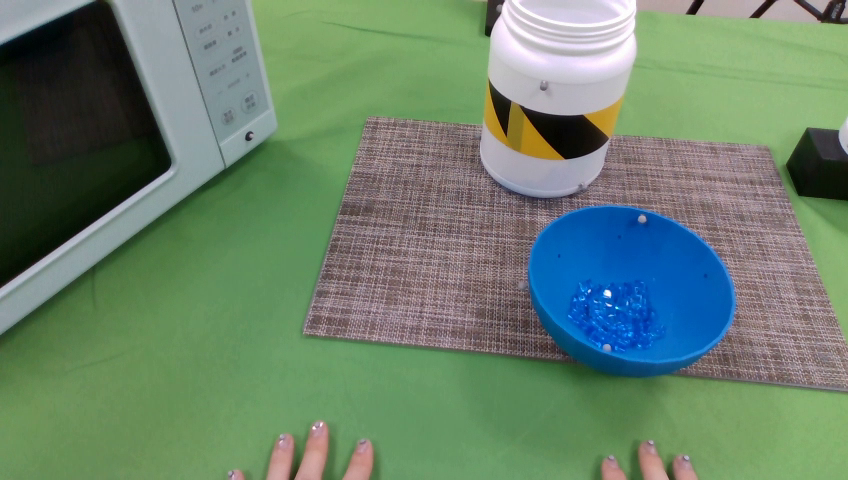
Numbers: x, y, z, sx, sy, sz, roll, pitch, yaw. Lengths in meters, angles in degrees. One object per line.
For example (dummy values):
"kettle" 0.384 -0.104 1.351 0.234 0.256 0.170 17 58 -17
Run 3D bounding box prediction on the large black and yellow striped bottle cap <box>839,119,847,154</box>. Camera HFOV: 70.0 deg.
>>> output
"large black and yellow striped bottle cap" 0.471 -0.094 0.590 0.115 0.019 0.114 0 48 0

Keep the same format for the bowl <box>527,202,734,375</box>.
"bowl" 0.151 0.050 0.477 0.151 0.077 0.150 0 48 0

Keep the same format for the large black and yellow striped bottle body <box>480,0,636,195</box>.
"large black and yellow striped bottle body" 0.125 -0.149 0.581 0.131 0.185 0.129 1 48 0

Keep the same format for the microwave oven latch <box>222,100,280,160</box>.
"microwave oven latch" -0.185 -0.118 0.627 0.030 0.030 0.079 29 55 22

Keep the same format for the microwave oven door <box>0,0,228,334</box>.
"microwave oven door" -0.310 -0.052 0.430 0.039 0.246 0.355 27 53 22

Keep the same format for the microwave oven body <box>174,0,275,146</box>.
"microwave oven body" -0.407 -0.136 0.509 0.324 0.262 0.440 28 54 21
